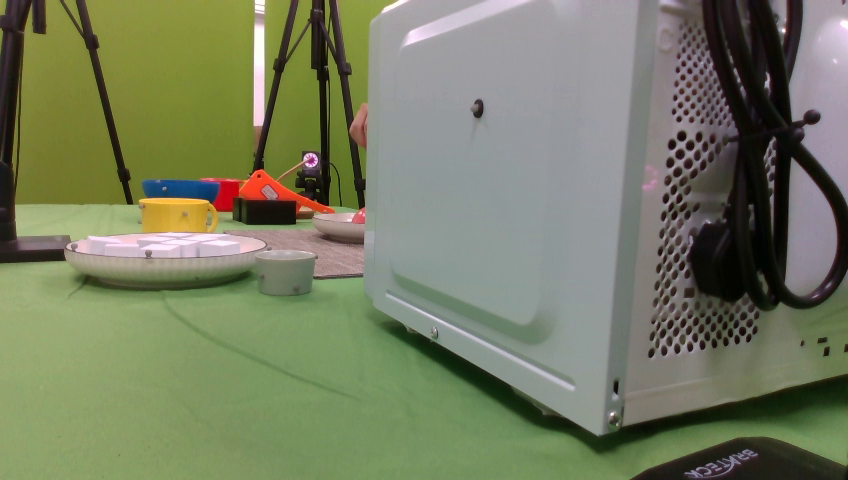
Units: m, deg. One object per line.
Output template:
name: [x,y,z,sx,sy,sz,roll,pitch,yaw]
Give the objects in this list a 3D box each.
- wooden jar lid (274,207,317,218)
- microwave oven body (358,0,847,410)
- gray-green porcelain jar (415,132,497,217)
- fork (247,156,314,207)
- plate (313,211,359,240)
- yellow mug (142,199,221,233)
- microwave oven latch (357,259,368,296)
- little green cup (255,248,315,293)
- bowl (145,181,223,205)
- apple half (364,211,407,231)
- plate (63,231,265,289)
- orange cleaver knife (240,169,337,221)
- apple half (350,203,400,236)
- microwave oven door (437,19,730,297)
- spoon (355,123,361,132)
wooden jar lid: [-0.303,-0.065,1.409,0.108,0.020,0.108,3,9,0]
microwave oven body: [0.210,-0.051,0.471,0.444,0.260,0.324,-1,7,-28]
gray-green porcelain jar: [0.062,-0.114,1.095,0.105,0.127,0.105,-35,18,13]
fork: [-0.360,-0.147,1.523,0.207,0.018,0.028,-43,16,-7]
plate: [-0.091,-0.026,1.063,0.209,0.038,0.209,2,7,0]
yellow mug: [-0.373,-0.030,0.948,0.099,0.064,0.131,6,7,30]
microwave oven latch: [-0.019,0.031,0.528,0.079,0.029,0.030,-1,7,-25]
little green cup: [-0.144,0.031,0.627,0.061,0.038,0.061,2,6,0]
bowl: [-0.499,-0.081,1.261,0.151,0.077,0.151,2,8,0]
apple half: [-0.068,-0.037,1.104,0.081,0.033,0.081,-1,9,0]
plate: [-0.288,0.021,0.687,0.208,0.039,0.207,2,8,0]
orange cleaver knife: [-0.287,-0.081,1.298,0.212,0.077,0.012,25,-3,-31]
apple half: [-0.081,-0.036,1.024,0.081,0.053,0.074,-2,11,-33]
microwave oven door: [0.181,-0.076,0.618,0.358,0.243,0.039,-2,9,-28]
spoon: [-0.092,-0.175,1.116,0.042,0.021,0.193,11,31,-33]
